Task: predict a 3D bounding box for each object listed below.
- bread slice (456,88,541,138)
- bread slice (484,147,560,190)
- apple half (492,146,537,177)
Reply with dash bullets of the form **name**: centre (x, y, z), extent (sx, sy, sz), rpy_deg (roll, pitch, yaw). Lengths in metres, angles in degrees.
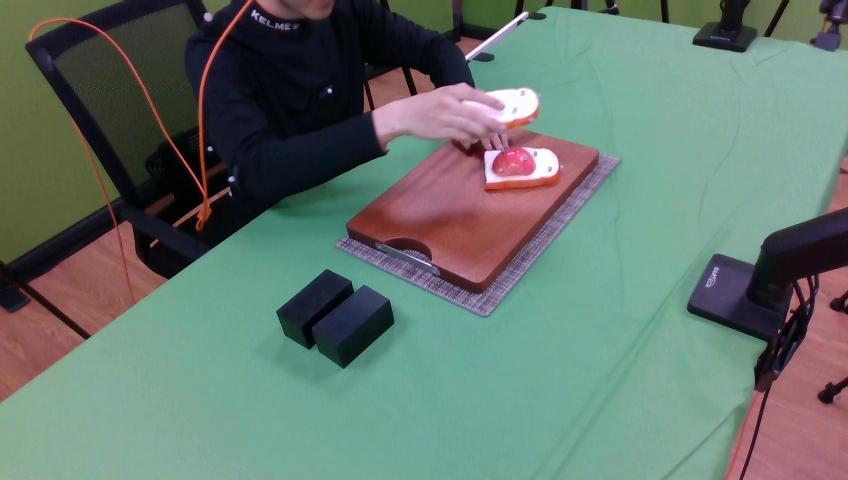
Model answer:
- **bread slice**: centre (0.114, -0.202, 0.947), extent (0.134, 0.018, 0.106), rpy_deg (-10, 40, 8)
- **bread slice**: centre (0.170, -0.128, 1.053), extent (0.131, 0.019, 0.104), rpy_deg (-4, 42, 5)
- **apple half**: centre (0.154, -0.142, 1.036), extent (0.081, 0.033, 0.081), rpy_deg (-4, 42, 4)
